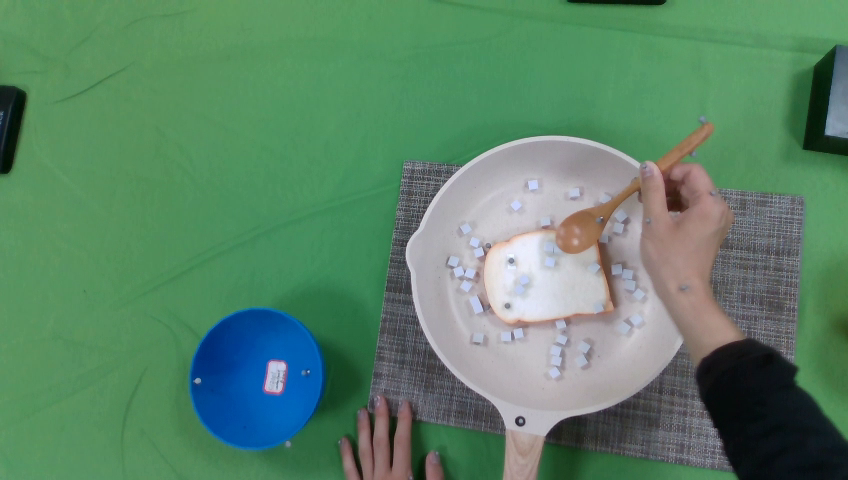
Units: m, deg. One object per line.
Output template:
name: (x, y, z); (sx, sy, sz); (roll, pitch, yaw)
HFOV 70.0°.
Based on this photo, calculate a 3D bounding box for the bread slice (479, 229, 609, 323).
bread slice: (0.130, 0.041, 0.679); (0.134, 0.018, 0.106); (-14, 80, 4)

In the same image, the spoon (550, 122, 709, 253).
spoon: (0.193, -0.047, 0.587); (0.194, 0.022, 0.041); (-46, 66, 44)

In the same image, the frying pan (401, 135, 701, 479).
frying pan: (0.109, 0.134, 0.628); (0.306, 0.103, 0.485); (9, 75, 10)

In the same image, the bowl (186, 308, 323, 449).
bowl: (-0.178, 0.153, 0.684); (0.151, 0.077, 0.151); (-1, 82, 8)
